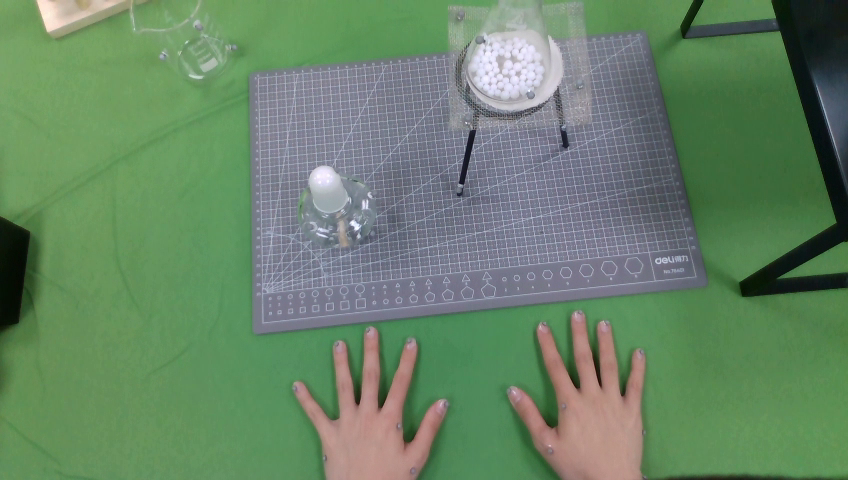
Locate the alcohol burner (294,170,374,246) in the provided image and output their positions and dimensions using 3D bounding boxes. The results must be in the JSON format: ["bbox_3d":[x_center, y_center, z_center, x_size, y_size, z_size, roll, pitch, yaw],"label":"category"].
[{"bbox_3d":[-0.088,-0.037,0.576,0.078,0.120,0.077,0,71,1],"label":"alcohol burner"}]

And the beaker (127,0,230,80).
[{"bbox_3d":[-0.261,-0.225,0.651,0.073,0.101,0.084,40,78,14],"label":"beaker"}]

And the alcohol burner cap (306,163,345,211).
[{"bbox_3d":[-0.090,-0.051,0.542,0.034,0.048,0.033,0,66,0],"label":"alcohol burner cap"}]

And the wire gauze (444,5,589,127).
[{"bbox_3d":[0.079,-0.155,0.526,0.121,0.011,0.124,0,71,0],"label":"wire gauze"}]

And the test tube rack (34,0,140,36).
[{"bbox_3d":[-0.347,-0.332,0.695,0.242,0.085,0.066,-25,73,-6],"label":"test tube rack"}]

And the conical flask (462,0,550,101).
[{"bbox_3d":[0.068,-0.169,0.469,0.075,0.122,0.075,0,72,2],"label":"conical flask"}]

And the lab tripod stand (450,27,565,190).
[{"bbox_3d":[0.075,-0.130,0.588,0.148,0.132,0.147,0,71,1],"label":"lab tripod stand"}]
